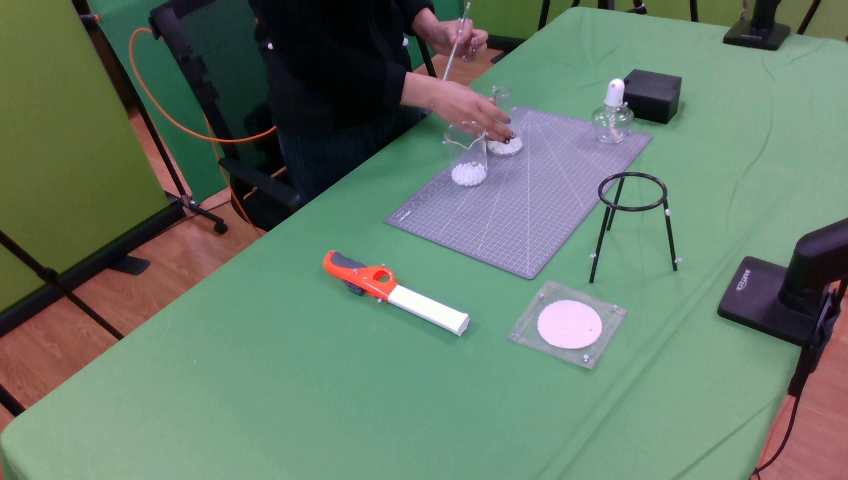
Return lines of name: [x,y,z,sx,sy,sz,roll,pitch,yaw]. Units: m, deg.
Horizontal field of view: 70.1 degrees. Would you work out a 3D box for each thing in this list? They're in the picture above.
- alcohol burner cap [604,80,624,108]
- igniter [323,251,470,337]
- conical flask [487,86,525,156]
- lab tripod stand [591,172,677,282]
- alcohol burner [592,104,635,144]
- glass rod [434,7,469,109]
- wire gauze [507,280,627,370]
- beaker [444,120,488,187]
alcohol burner cap: [0.350,-0.269,1.102,0.034,0.048,0.033,-2,47,2]
igniter: [-0.052,0.075,0.901,0.274,0.025,0.057,22,60,32]
conical flask: [0.152,-0.226,1.140,0.075,0.122,0.075,-5,40,5]
lab tripod stand: [0.292,-0.022,0.867,0.148,0.132,0.147,-7,39,6]
alcohol burner: [0.353,-0.242,1.126,0.078,0.119,0.077,-5,38,5]
glass rod: [0.051,-0.344,1.144,0.008,0.199,0.008,19,4,-1]
wire gauze: [0.196,0.114,0.823,0.120,0.011,0.125,20,50,31]
beaker: [0.078,-0.150,1.083,0.074,0.101,0.083,-9,41,1]
